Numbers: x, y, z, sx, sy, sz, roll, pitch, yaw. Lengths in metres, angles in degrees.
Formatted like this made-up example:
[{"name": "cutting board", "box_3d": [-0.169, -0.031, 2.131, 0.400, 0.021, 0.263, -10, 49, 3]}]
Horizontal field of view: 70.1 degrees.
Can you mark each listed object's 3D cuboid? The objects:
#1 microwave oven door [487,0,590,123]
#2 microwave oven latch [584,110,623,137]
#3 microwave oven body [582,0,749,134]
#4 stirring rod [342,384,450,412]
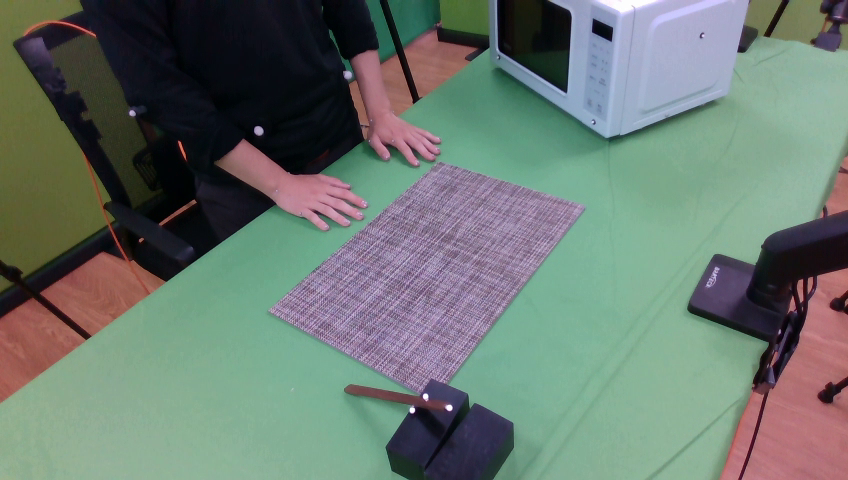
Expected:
[{"name": "microwave oven door", "box_3d": [0.232, -0.420, 1.231, 0.039, 0.245, 0.352, -22, 43, -16]}, {"name": "microwave oven latch", "box_3d": [0.337, -0.222, 1.142, 0.030, 0.029, 0.078, -21, 42, -14]}, {"name": "microwave oven body", "box_3d": [0.382, -0.444, 1.246, 0.327, 0.261, 0.437, -22, 42, -16]}, {"name": "stirring rod", "box_3d": [-0.038, 0.186, 0.714, 0.175, 0.006, 0.014, -3, 22, 43]}]
